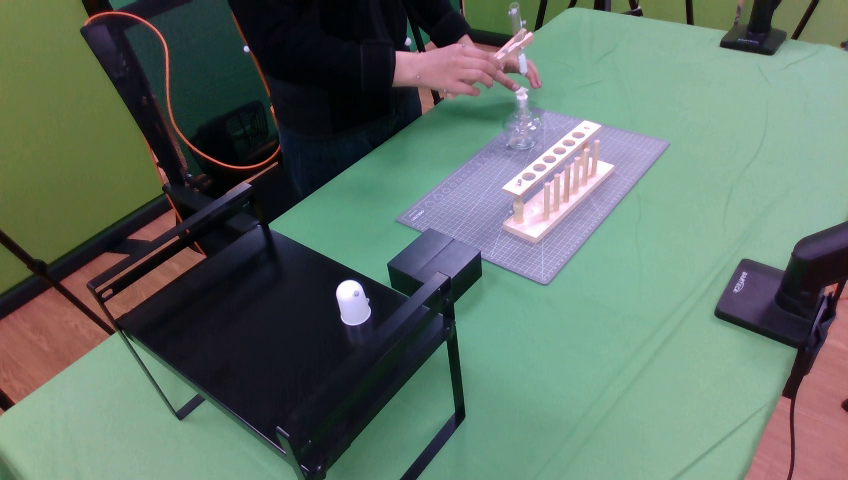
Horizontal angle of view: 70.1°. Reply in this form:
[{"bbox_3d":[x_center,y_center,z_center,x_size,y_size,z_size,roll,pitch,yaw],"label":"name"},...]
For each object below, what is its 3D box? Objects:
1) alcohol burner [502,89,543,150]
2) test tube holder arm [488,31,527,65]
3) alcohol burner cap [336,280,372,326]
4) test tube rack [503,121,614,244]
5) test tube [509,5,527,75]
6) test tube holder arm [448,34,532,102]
[{"bbox_3d":[0.186,-0.233,1.147,0.078,0.119,0.077,-5,42,5],"label":"alcohol burner"},{"bbox_3d":[0.142,-0.322,1.026,0.088,0.015,0.010,-45,54,-12],"label":"test tube holder arm"},{"bbox_3d":[-0.073,0.061,0.619,0.034,0.048,0.033,-4,41,4],"label":"alcohol burner cap"},{"bbox_3d":[0.230,-0.101,1.006,0.066,0.085,0.243,26,50,34],"label":"test tube rack"},{"bbox_3d":[0.161,-0.336,1.027,0.017,0.151,0.017,-7,60,13],"label":"test tube"},{"bbox_3d":[0.112,-0.290,1.015,0.178,0.015,0.013,-40,53,-9],"label":"test tube holder arm"}]
